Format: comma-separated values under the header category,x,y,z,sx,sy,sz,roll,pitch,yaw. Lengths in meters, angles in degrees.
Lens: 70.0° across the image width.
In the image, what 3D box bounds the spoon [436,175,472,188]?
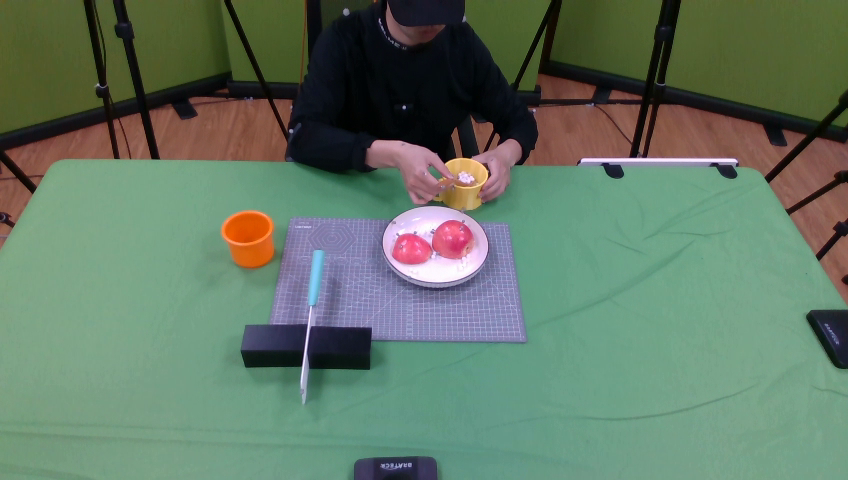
category,x,y,z,sx,sy,sz,roll,pitch,yaw
spoon,0.057,-0.119,1.229,0.041,0.021,0.194,23,13,16

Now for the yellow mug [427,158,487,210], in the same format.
category,x,y,z,sx,sy,sz,roll,pitch,yaw
yellow mug,0.067,-0.116,1.284,0.131,0.064,0.099,-17,49,-18

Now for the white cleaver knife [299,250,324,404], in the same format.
category,x,y,z,sx,sy,sz,roll,pitch,yaw
white cleaver knife,-0.194,0.134,1.019,0.021,0.066,0.284,5,50,-5

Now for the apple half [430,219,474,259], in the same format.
category,x,y,z,sx,sy,sz,roll,pitch,yaw
apple half,0.056,-0.008,1.172,0.081,0.053,0.074,-33,59,-31

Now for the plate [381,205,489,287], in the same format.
category,x,y,z,sx,sy,sz,roll,pitch,yaw
plate,0.021,0.015,1.170,0.209,0.038,0.208,2,46,-2

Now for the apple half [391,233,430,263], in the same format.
category,x,y,z,sx,sy,sz,roll,pitch,yaw
apple half,-0.024,0.009,1.163,0.081,0.033,0.081,2,43,-1
